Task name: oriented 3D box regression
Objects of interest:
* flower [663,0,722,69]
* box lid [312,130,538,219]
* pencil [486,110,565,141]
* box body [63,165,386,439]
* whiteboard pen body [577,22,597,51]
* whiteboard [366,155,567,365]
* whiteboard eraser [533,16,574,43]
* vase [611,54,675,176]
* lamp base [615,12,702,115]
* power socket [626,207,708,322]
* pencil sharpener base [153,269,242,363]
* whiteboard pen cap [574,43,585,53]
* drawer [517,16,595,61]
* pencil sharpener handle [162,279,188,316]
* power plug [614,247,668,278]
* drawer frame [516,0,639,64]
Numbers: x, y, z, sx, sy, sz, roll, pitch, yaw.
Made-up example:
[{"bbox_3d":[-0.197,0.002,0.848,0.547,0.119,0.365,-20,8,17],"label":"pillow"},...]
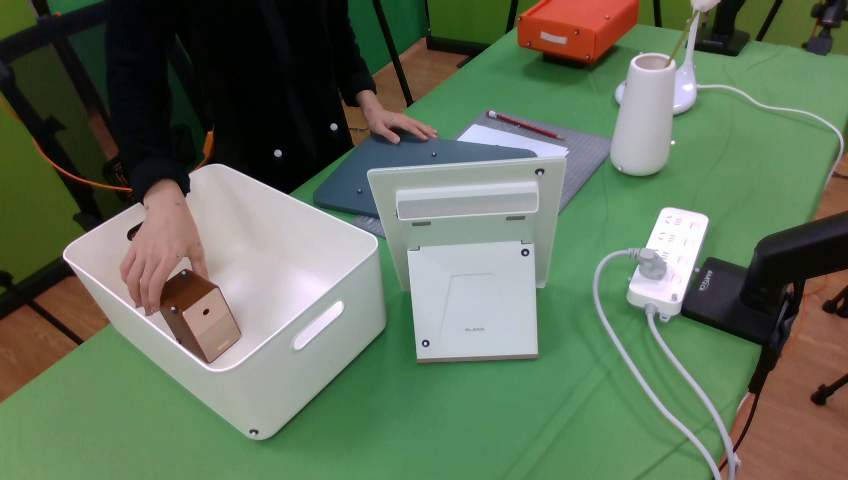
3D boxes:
[{"bbox_3d":[0.379,-0.261,0.965,0.044,0.362,0.038,21,53,5],"label":"flower"},{"bbox_3d":[0.007,-0.113,1.114,0.369,0.015,0.263,11,44,21],"label":"box lid"},{"bbox_3d":[0.204,-0.232,1.226,0.192,0.012,0.012,29,52,33],"label":"pencil"},{"bbox_3d":[-0.257,0.068,0.823,0.361,0.161,0.255,24,49,31],"label":"box body"},{"bbox_3d":[0.372,-0.468,1.390,0.017,0.017,0.141,14,47,23],"label":"whiteboard pen body"},{"bbox_3d":[0.059,0.050,0.738,0.217,0.307,0.143,-3,60,5],"label":"whiteboard"},{"bbox_3d":[0.305,-0.493,1.423,0.055,0.042,0.113,27,43,25],"label":"whiteboard eraser"},{"bbox_3d":[0.377,-0.209,1.031,0.098,0.201,0.097,-3,40,3],"label":"vase"},{"bbox_3d":[0.484,-0.364,1.211,0.180,0.181,0.159,-15,41,-14],"label":"lamp base"},{"bbox_3d":[0.359,0.026,0.886,0.072,0.033,0.227,16,46,26],"label":"power socket"},{"bbox_3d":[-0.308,0.103,0.824,0.076,0.107,0.061,22,50,32],"label":"pencil sharpener base"},{"bbox_3d":[0.346,-0.430,1.350,0.018,0.018,0.033,15,37,24],"label":"whiteboard pen cap"},{"bbox_3d":[0.353,-0.505,1.404,0.193,0.073,0.212,25,50,33],"label":"drawer"},{"bbox_3d":[-0.350,0.078,0.841,0.030,0.068,0.036,22,47,32],"label":"pencil sharpener handle"},{"bbox_3d":[0.306,0.031,0.851,0.072,0.053,0.035,24,49,33],"label":"power plug"},{"bbox_3d":[0.356,-0.507,1.410,0.200,0.083,0.214,25,51,32],"label":"drawer frame"}]
